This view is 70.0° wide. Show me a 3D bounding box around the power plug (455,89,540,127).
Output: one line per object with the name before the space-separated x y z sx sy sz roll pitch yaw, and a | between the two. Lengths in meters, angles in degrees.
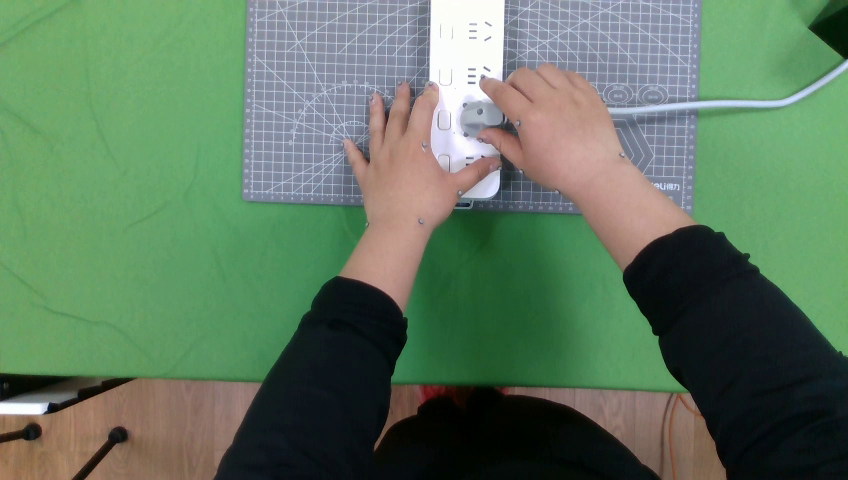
power plug | 0.065 -0.119 0.569 0.072 0.052 0.035 15 91 -3

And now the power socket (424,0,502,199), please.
power socket | 0.037 -0.154 0.586 0.072 0.032 0.226 1 92 0
